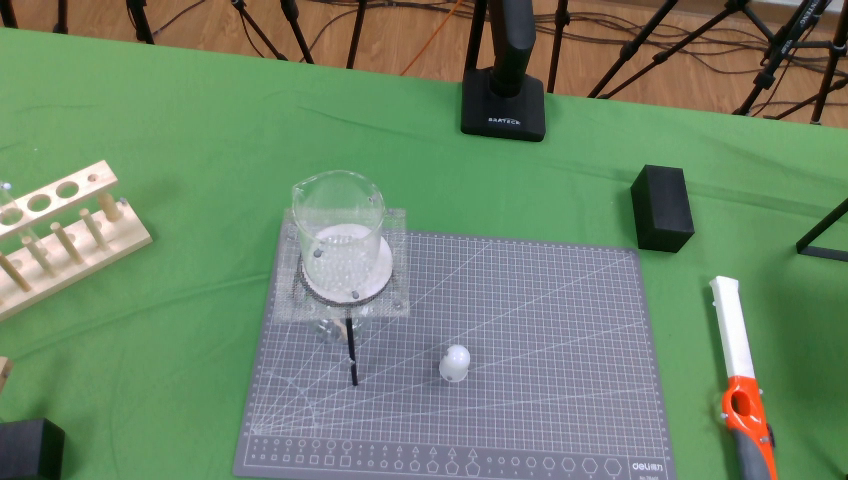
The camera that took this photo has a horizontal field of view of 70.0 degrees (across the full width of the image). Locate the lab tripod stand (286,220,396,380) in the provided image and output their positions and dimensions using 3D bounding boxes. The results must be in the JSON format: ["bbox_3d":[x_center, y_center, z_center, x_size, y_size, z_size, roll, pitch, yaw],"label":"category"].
[{"bbox_3d":[-0.081,0.055,0.627,0.148,0.132,0.147,4,60,-6],"label":"lab tripod stand"}]

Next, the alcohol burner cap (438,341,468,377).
[{"bbox_3d":[0.032,0.126,0.652,0.034,0.048,0.033,2,62,-3],"label":"alcohol burner cap"}]

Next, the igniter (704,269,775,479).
[{"bbox_3d":[0.353,0.159,0.682,0.057,0.025,0.274,12,59,-11],"label":"igniter"}]

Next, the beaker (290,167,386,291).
[{"bbox_3d":[-0.077,-0.006,0.530,0.084,0.101,0.073,27,60,9],"label":"beaker"}]

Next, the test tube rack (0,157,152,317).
[{"bbox_3d":[-0.430,0.013,0.641,0.242,0.086,0.066,-33,68,-23],"label":"test tube rack"}]

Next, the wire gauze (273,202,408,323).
[{"bbox_3d":[-0.078,0.017,0.574,0.121,0.011,0.124,0,63,-5],"label":"wire gauze"}]

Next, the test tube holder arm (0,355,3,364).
[{"bbox_3d":[-0.408,0.183,0.525,0.013,0.015,0.177,7,58,-2],"label":"test tube holder arm"}]

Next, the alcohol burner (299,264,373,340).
[{"bbox_3d":[-0.092,0.058,0.635,0.078,0.120,0.077,4,58,-6],"label":"alcohol burner"}]

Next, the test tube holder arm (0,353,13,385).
[{"bbox_3d":[-0.399,0.146,0.549,0.010,0.015,0.087,7,58,-2],"label":"test tube holder arm"}]

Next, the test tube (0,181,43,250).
[{"bbox_3d":[-0.422,-0.035,0.613,0.017,0.151,0.017,4,54,-5],"label":"test tube"}]
